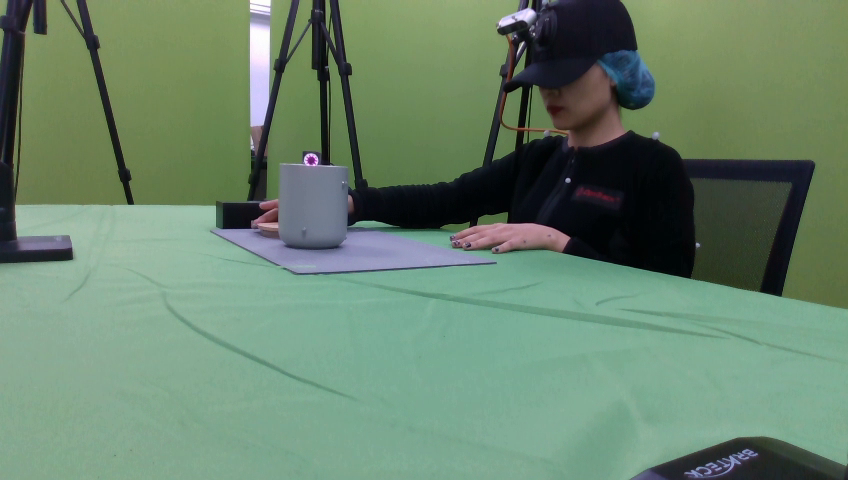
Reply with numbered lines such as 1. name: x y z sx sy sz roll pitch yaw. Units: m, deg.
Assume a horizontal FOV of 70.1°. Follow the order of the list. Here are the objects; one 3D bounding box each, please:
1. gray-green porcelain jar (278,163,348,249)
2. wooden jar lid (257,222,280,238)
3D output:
1. gray-green porcelain jar: -0.171 -0.053 0.934 0.106 0.126 0.106 2 7 0
2. wooden jar lid: -0.234 -0.017 1.053 0.108 0.020 0.108 2 8 0
